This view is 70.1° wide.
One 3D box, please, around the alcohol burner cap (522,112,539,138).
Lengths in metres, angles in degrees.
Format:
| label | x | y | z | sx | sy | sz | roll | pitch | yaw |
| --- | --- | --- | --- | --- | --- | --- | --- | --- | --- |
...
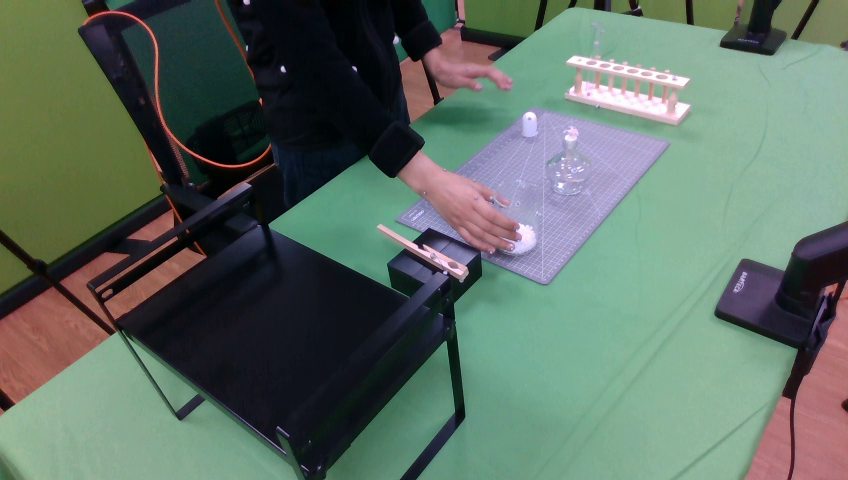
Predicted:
| label | x | y | z | sx | sy | sz | roll | pitch | yaw |
| --- | --- | --- | --- | --- | --- | --- | --- | --- | --- |
| alcohol burner cap | 0.210 | -0.230 | 1.195 | 0.034 | 0.048 | 0.033 | -6 | 41 | 6 |

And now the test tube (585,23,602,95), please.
| label | x | y | z | sx | sy | sz | roll | pitch | yaw |
| --- | --- | --- | --- | --- | --- | --- | --- | --- | --- |
| test tube | 0.342 | -0.364 | 1.226 | 0.017 | 0.151 | 0.017 | -2 | 42 | 2 |

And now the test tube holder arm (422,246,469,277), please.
| label | x | y | z | sx | sy | sz | roll | pitch | yaw |
| --- | --- | --- | --- | --- | --- | --- | --- | --- | --- |
| test tube holder arm | 0.028 | 0.031 | 0.864 | 0.087 | 0.015 | 0.010 | 25 | 49 | 34 |

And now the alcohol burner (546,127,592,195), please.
| label | x | y | z | sx | sy | sz | roll | pitch | yaw |
| --- | --- | --- | --- | --- | --- | --- | --- | --- | --- |
| alcohol burner | 0.247 | -0.137 | 1.023 | 0.078 | 0.119 | 0.077 | -4 | 38 | 4 |

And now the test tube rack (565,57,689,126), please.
| label | x | y | z | sx | sy | sz | roll | pitch | yaw |
| --- | --- | --- | --- | --- | --- | --- | --- | --- | --- |
| test tube rack | 0.411 | -0.311 | 1.230 | 0.240 | 0.085 | 0.067 | 23 | 49 | 32 |

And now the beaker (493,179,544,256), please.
| label | x | y | z | sx | sy | sz | roll | pitch | yaw |
| --- | --- | --- | --- | --- | --- | --- | --- | --- | --- |
| beaker | 0.144 | -0.034 | 0.927 | 0.073 | 0.100 | 0.084 | 12 | 43 | 18 |

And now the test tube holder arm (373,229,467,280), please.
| label | x | y | z | sx | sy | sz | roll | pitch | yaw |
| --- | --- | --- | --- | --- | --- | --- | --- | --- | --- |
| test tube holder arm | -0.010 | 0.019 | 0.885 | 0.177 | 0.015 | 0.013 | 23 | 48 | 33 |
